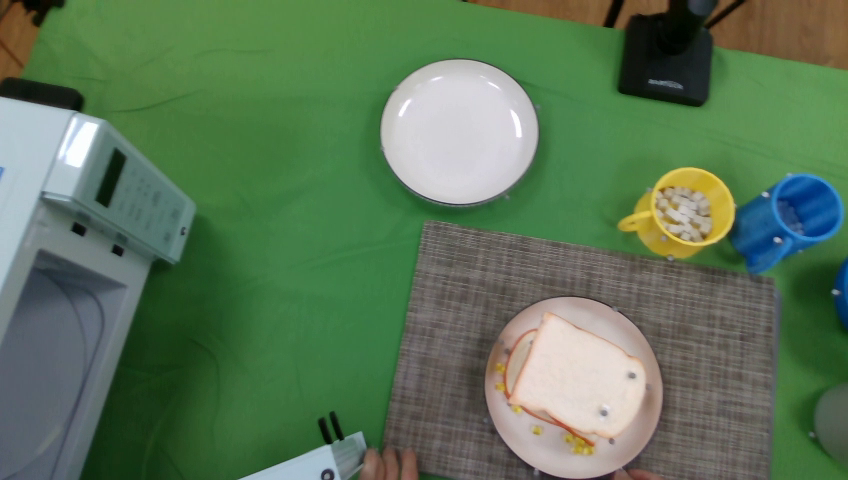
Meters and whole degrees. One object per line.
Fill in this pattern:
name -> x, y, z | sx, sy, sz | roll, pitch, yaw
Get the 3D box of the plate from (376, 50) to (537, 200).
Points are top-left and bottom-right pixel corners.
plate -> 0.042, -0.147, 0.796 | 0.208, 0.039, 0.206 | 0, 76, 0

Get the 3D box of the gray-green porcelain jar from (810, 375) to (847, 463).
gray-green porcelain jar -> 0.504, 0.199, 0.665 | 0.106, 0.127, 0.105 | 0, 75, 0

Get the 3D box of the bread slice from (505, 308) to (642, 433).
bread slice -> 0.168, 0.144, 0.657 | 0.134, 0.018, 0.107 | 21, 83, -1

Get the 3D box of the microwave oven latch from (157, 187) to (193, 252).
microwave oven latch -> -0.309, -0.027, 0.742 | 0.030, 0.029, 0.079 | 14, 76, 3

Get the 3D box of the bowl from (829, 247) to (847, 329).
bowl -> 0.549, 0.066, 0.724 | 0.151, 0.077, 0.150 | 0, 76, 0

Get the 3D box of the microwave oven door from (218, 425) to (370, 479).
microwave oven door -> -0.233, 0.257, 0.564 | 0.356, 0.245, 0.039 | -20, 75, -5

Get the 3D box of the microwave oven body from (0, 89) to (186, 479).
microwave oven body -> -0.490, 0.085, 0.612 | 0.326, 0.261, 0.439 | 12, 76, 2

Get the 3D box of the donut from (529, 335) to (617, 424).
donut -> 0.168, 0.158, 0.685 | 0.099, 0.048, 0.098 | 0, 74, -1

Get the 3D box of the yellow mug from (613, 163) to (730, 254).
yellow mug -> 0.302, -0.035, 0.755 | 0.131, 0.064, 0.099 | -10, 75, -2

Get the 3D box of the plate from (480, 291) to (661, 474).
plate -> 0.169, 0.164, 0.712 | 0.209, 0.038, 0.208 | 0, 75, -1

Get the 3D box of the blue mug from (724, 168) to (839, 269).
blue mug -> 0.420, -0.016, 0.730 | 0.082, 0.106, 0.116 | 31, 77, 8

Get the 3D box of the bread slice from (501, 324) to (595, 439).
bread slice -> 0.157, 0.160, 0.714 | 0.131, 0.019, 0.104 | 23, 76, 5
